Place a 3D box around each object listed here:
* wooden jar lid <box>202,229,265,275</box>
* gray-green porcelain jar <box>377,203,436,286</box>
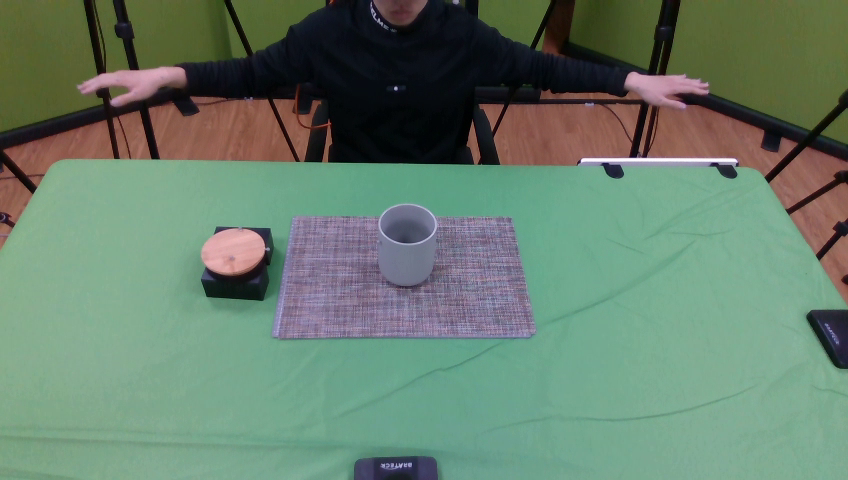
[{"bbox_3d":[-0.340,0.023,1.084,0.108,0.021,0.107,3,45,-2],"label":"wooden jar lid"},{"bbox_3d":[-0.033,0.014,1.106,0.106,0.127,0.105,2,46,-2],"label":"gray-green porcelain jar"}]
